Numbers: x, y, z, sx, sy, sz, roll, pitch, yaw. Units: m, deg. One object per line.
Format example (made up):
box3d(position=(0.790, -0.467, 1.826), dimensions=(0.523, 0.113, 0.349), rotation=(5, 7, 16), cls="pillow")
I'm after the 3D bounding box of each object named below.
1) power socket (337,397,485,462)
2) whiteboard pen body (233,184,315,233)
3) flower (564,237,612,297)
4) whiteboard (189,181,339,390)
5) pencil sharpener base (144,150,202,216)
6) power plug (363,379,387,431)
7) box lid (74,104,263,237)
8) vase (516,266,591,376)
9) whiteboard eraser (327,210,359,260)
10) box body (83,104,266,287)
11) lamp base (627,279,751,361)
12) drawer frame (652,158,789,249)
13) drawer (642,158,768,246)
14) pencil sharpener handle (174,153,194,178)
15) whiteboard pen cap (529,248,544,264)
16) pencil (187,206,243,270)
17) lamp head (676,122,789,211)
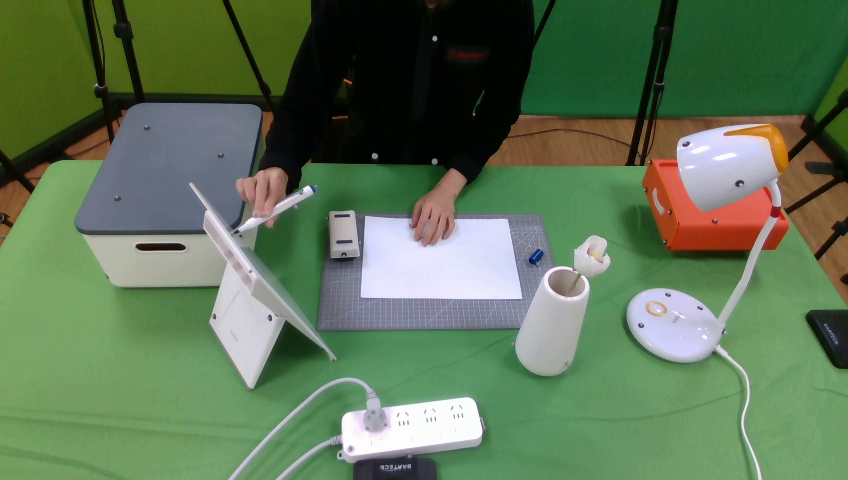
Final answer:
box3d(position=(-0.018, 0.285, 0.915), dimensions=(0.227, 0.033, 0.071), rotation=(-5, 46, -8), cls="power socket")
box3d(position=(-0.229, -0.047, 0.930), dimensions=(0.141, 0.017, 0.017), rotation=(-33, 56, -20), cls="whiteboard pen body")
box3d(position=(0.206, 0.088, 0.893), dimensions=(0.038, 0.363, 0.044), rotation=(-17, 67, -9), cls="flower")
box3d(position=(-0.292, 0.096, 0.929), dimensions=(0.144, 0.307, 0.216), rotation=(-37, 57, -10), cls="whiteboard")
box3d(position=(-0.493, -0.113, 1.199), dimensions=(0.061, 0.107, 0.076), rotation=(15, 47, 11), cls="pencil sharpener base")
box3d(position=(-0.072, 0.252, 0.910), dimensions=(0.035, 0.053, 0.072), rotation=(3, 45, -1), cls="power plug")
box3d(position=(-0.443, -0.138, 1.095), dimensions=(0.263, 0.015, 0.369), rotation=(-1, 45, -5), cls="box lid")
box3d(position=(0.208, 0.132, 0.964), dimensions=(0.098, 0.201, 0.097), rotation=(3, 46, -3), cls="vase")
box3d(position=(-0.158, -0.009, 1.177), dimensions=(0.055, 0.042, 0.112), rotation=(-6, 47, -6), cls="whiteboard eraser")
box3d(position=(-0.447, -0.088, 1.150), dimensions=(0.254, 0.161, 0.361), rotation=(-1, 46, -5), cls="box body")
box3d(position=(0.459, 0.100, 1.027), dimensions=(0.178, 0.181, 0.160), rotation=(27, 51, 17), cls="lamp base")
box3d(position=(0.571, -0.075, 1.214), dimensions=(0.214, 0.083, 0.200), rotation=(0, 45, -1), cls="drawer frame")
box3d(position=(0.565, -0.076, 1.211), dimensions=(0.212, 0.073, 0.193), rotation=(2, 45, -2), cls="drawer")
box3d(position=(-0.479, -0.156, 1.225), dimensions=(0.036, 0.068, 0.030), rotation=(24, 48, 2), cls="pencil sharpener handle")
box3d(position=(0.219, 0.032, 1.183), dimensions=(0.018, 0.018, 0.033), rotation=(31, 51, 23), cls="whiteboard pen cap")
box3d(position=(-0.401, -0.009, 1.176), dimensions=(0.012, 0.012, 0.193), rotation=(15, 44, 10), cls="pencil")
box3d(position=(0.423, -0.104, 0.819), dimensions=(0.122, 0.113, 0.112), rotation=(-13, 33, 40), cls="lamp head")
